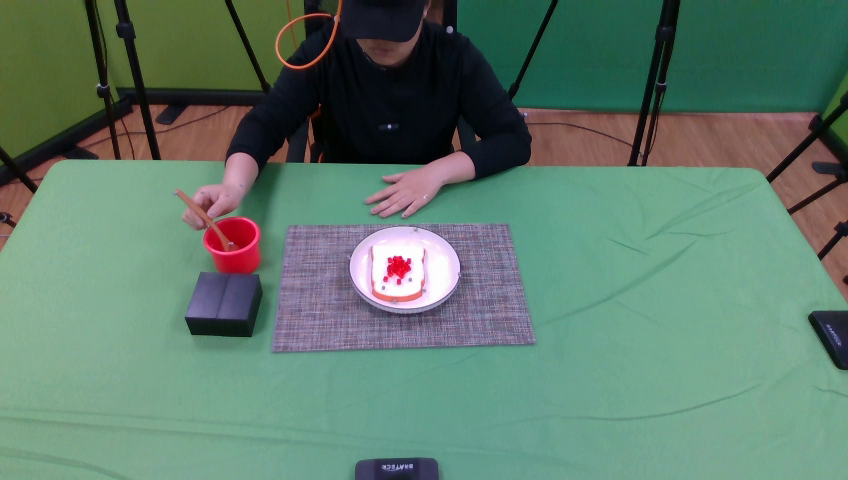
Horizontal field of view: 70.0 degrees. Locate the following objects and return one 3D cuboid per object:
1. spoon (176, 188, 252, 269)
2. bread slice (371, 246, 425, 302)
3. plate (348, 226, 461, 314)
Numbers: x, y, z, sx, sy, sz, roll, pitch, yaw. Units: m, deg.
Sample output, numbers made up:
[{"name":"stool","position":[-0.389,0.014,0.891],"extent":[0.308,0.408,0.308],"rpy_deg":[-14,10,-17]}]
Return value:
[{"name":"spoon","position":[-0.373,-0.020,1.082],"extent":[0.021,0.195,0.041],"rpy_deg":[-12,37,27]},{"name":"bread slice","position":[-0.047,0.060,1.123],"extent":[0.105,0.019,0.130],"rpy_deg":[0,45,-3]},{"name":"plate","position":[-0.035,0.058,1.123],"extent":[0.209,0.038,0.208],"rpy_deg":[2,46,-2]}]
